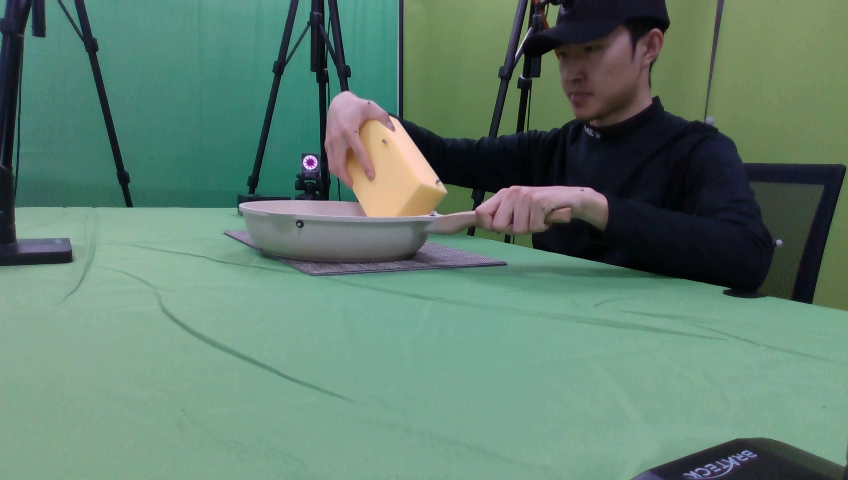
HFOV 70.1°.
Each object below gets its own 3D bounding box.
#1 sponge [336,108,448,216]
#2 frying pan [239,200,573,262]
[{"bbox_3d":[-0.059,-0.109,0.998,0.061,0.118,0.206,14,34,-44],"label":"sponge"},{"bbox_3d":[-0.033,-0.026,0.867,0.486,0.102,0.308,-3,5,25],"label":"frying pan"}]
